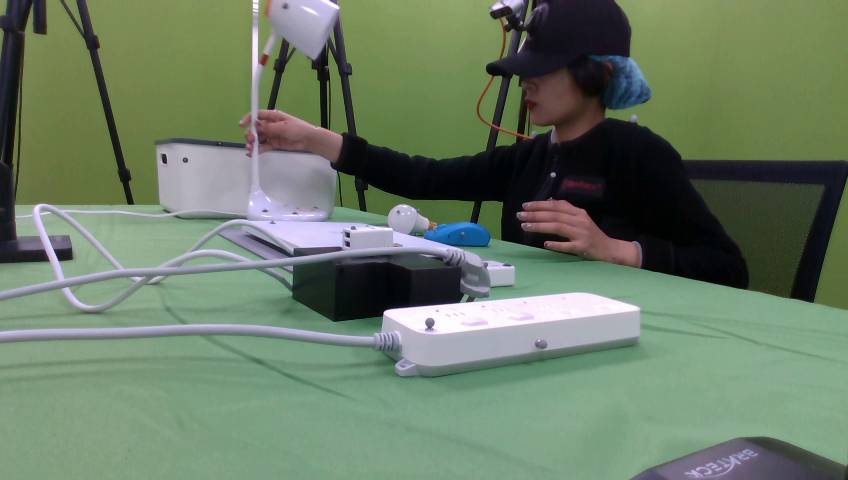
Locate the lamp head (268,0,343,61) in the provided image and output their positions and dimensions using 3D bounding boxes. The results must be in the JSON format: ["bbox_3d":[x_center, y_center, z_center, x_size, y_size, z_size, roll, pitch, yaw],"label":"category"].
[{"bbox_3d":[-0.232,-0.413,1.145,0.123,0.112,0.112,23,4,-10],"label":"lamp head"}]

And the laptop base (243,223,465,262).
[{"bbox_3d":[-0.126,0.003,0.946,0.237,0.023,0.352,2,6,-31],"label":"laptop base"}]

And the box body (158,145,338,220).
[{"bbox_3d":[-0.410,-0.139,1.414,0.366,0.160,0.253,-3,8,-33],"label":"box body"}]

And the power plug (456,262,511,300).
[{"bbox_3d":[0.052,0.051,0.543,0.035,0.052,0.072,6,37,-20],"label":"power plug"}]

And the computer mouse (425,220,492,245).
[{"bbox_3d":[0.060,-0.013,1.060,0.117,0.041,0.062,-2,9,-6],"label":"computer mouse"}]

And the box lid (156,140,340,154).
[{"bbox_3d":[-0.409,-0.213,1.404,0.373,0.015,0.262,-2,8,-32],"label":"box lid"}]

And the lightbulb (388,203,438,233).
[{"bbox_3d":[-0.017,-0.035,1.161,0.108,0.059,0.059,16,0,-27],"label":"lightbulb"}]

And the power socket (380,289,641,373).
[{"bbox_3d":[0.072,0.064,0.461,0.228,0.032,0.072,-2,8,-30],"label":"power socket"}]

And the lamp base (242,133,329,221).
[{"bbox_3d":[-0.285,-0.124,1.208,0.179,0.180,0.160,-2,10,1],"label":"lamp base"}]

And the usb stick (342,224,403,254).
[{"bbox_3d":[-0.047,-0.001,0.567,0.059,0.027,0.021,0,5,-32],"label":"usb stick"}]

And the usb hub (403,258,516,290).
[{"bbox_3d":[0.042,0.038,0.690,0.126,0.025,0.049,-2,9,-30],"label":"usb hub"}]

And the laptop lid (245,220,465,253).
[{"bbox_3d":[-0.124,-0.009,0.945,0.243,0.013,0.355,1,7,-29],"label":"laptop lid"}]
